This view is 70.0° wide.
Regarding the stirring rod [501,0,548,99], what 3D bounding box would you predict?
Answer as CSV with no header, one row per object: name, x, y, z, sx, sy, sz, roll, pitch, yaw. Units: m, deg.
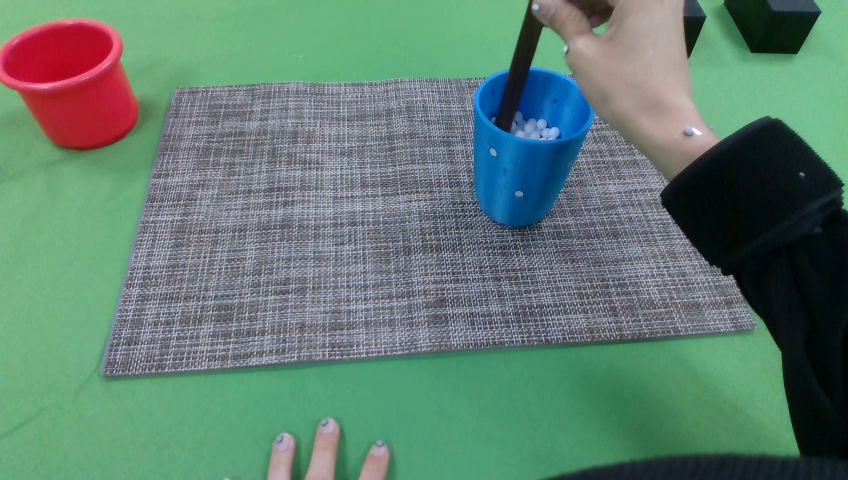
stirring rod,0.066,-0.133,0.398,0.014,0.177,0.005,11,53,-1

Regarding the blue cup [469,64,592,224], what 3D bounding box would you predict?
blue cup,0.072,-0.066,0.461,0.093,0.101,0.091,2,51,-2
